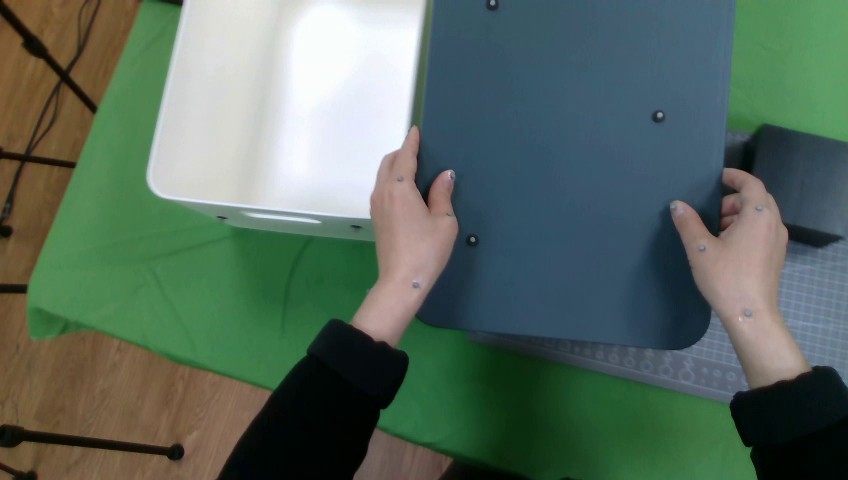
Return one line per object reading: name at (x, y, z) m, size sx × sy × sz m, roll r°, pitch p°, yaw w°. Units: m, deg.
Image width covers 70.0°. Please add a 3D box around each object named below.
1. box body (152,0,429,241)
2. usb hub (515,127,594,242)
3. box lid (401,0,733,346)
box body at (-0.113, -0.191, 0.680) m, size 0.254 × 0.161 × 0.362 m, roll 6°, pitch 79°, yaw 8°
usb hub at (0.149, -0.064, 0.689) m, size 0.049 × 0.025 × 0.125 m, roll 22°, pitch 83°, yaw 10°
box lid at (0.124, -0.098, 0.524) m, size 0.263 × 0.015 × 0.371 m, roll 5°, pitch 89°, yaw 1°
